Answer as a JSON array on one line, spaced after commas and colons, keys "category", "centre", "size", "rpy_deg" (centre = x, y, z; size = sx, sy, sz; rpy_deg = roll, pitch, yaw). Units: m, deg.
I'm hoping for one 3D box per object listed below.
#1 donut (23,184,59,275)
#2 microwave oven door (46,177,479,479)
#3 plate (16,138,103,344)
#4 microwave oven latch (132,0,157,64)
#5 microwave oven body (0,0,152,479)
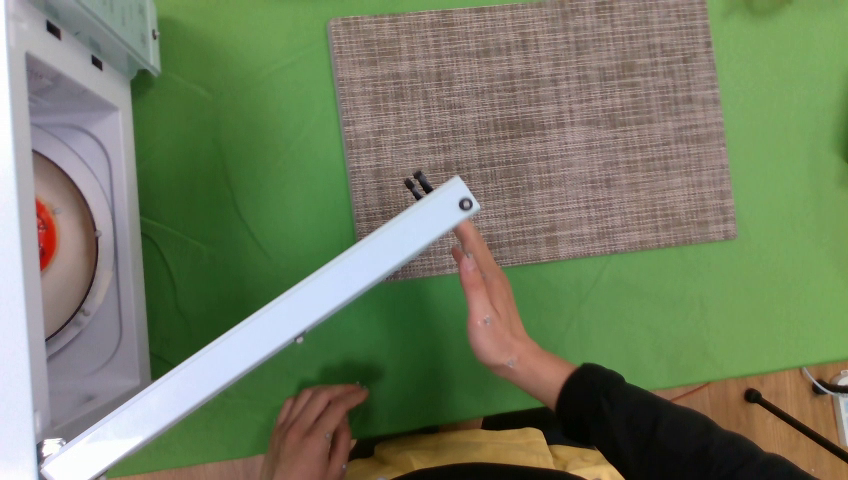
[{"category": "donut", "centre": [-0.393, -0.008, 0.562], "size": [0.099, 0.048, 0.099], "rpy_deg": [0, 92, -6]}, {"category": "microwave oven door", "centre": [-0.120, 0.064, 0.542], "size": [0.356, 0.243, 0.039], "rpy_deg": [-36, 91, -5]}, {"category": "plate", "centre": [-0.409, 0.004, 0.569], "size": [0.209, 0.038, 0.209], "rpy_deg": [0, 90, -7]}, {"category": "microwave oven latch", "centre": [-0.295, -0.226, 0.627], "size": [0.030, 0.029, 0.079], "rpy_deg": [-2, 90, -6]}, {"category": "microwave oven body", "centre": [-0.419, -0.040, 0.517], "size": [0.326, 0.260, 0.441], "rpy_deg": [-4, 90, -6]}]
